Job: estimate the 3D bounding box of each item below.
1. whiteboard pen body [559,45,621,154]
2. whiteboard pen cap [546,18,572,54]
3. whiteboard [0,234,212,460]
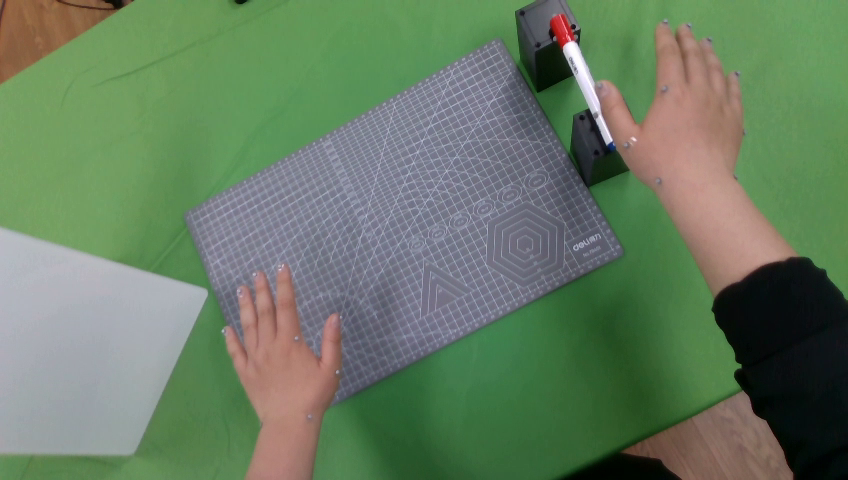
[{"bbox_3d":[0.157,-0.147,0.590,0.017,0.017,0.139,-23,75,7],"label":"whiteboard pen body"},{"bbox_3d":[0.134,-0.202,0.602,0.017,0.017,0.032,-21,78,7],"label":"whiteboard pen cap"},{"bbox_3d":[-0.431,0.102,0.651,0.142,0.308,0.217,21,84,35],"label":"whiteboard"}]
